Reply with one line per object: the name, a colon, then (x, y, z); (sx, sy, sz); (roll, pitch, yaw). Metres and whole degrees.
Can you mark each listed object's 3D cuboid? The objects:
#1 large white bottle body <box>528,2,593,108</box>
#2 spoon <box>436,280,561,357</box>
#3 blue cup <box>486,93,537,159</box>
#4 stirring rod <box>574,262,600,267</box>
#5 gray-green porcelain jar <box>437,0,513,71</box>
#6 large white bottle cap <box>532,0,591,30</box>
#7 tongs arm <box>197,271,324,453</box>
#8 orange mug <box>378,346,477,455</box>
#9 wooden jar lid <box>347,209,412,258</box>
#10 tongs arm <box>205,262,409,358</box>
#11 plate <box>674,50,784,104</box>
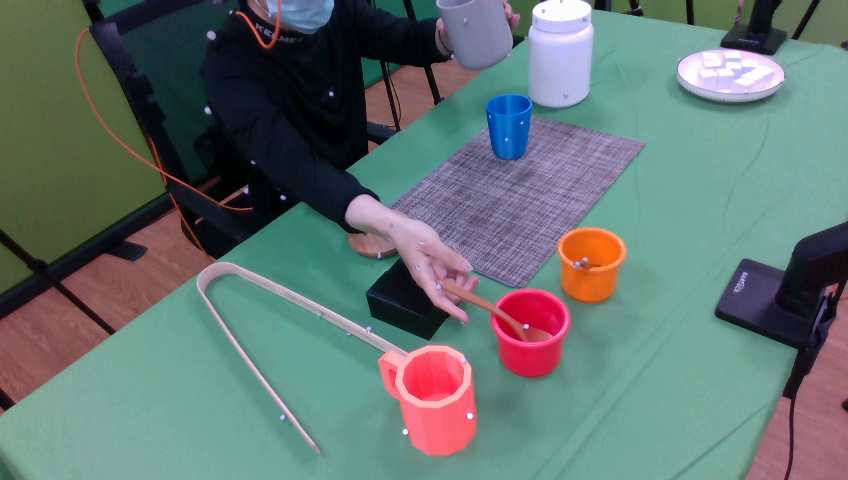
large white bottle body: (0.283, -0.386, 1.259); (0.130, 0.185, 0.130); (-5, 41, 4)
spoon: (0.096, 0.095, 0.757); (0.195, 0.021, 0.041); (34, 41, -20)
blue cup: (0.160, -0.209, 1.130); (0.092, 0.100, 0.092); (-4, 39, 4)
stirring rod: (0.222, 0.033, 0.816); (0.014, 0.006, 0.177); (7, 0, 22)
gray-green porcelain jar: (0.092, -0.367, 1.044); (0.105, 0.127, 0.105); (-15, 41, 14)
large white bottle cap: (0.274, -0.450, 1.204); (0.115, 0.018, 0.114); (-4, 41, 4)
tongs arm: (-0.236, 0.153, 0.829); (0.028, 0.028, 0.384); (-36, 48, -18)
orange mug: (0.002, 0.179, 0.708); (0.125, 0.101, 0.083); (25, 50, 27)
wooden jar lid: (-0.071, -0.010, 0.997); (0.108, 0.021, 0.108); (-4, 44, 5)
tongs arm: (-0.179, 0.106, 0.869); (0.382, 0.026, 0.051); (23, 54, 31)
plate: (0.631, -0.336, 1.262); (0.207, 0.039, 0.206); (-4, 41, 4)
